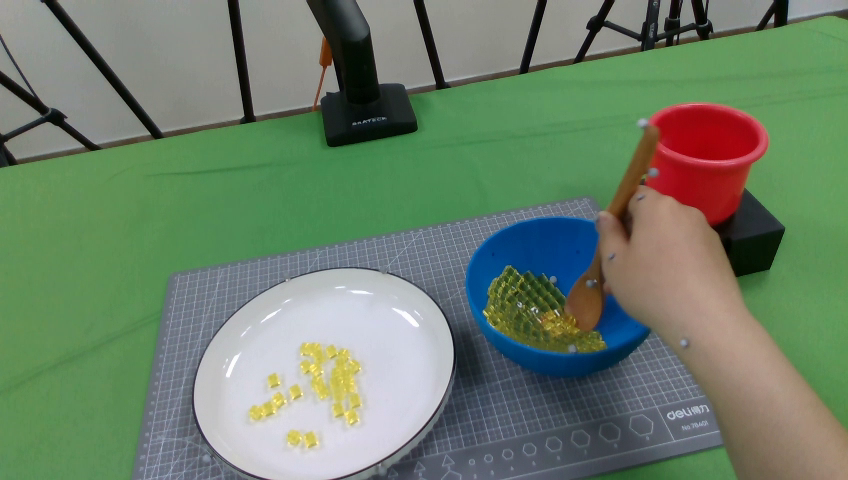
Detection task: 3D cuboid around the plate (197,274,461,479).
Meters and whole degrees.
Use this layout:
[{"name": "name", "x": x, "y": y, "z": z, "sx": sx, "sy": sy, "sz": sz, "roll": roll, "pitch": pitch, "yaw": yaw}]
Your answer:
[{"name": "plate", "x": -0.073, "y": 0.112, "z": 0.491, "sx": 0.207, "sy": 0.039, "sz": 0.205, "roll": -4, "pitch": 41, "yaw": 4}]

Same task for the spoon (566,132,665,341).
[{"name": "spoon", "x": 0.136, "y": 0.006, "z": 0.440, "sx": 0.022, "sy": 0.195, "sz": 0.041, "roll": -8, "pitch": 46, "yaw": -12}]

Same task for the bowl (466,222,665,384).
[{"name": "bowl", "x": 0.110, "y": 0.063, "z": 0.490, "sx": 0.151, "sy": 0.077, "sz": 0.150, "roll": -4, "pitch": 42, "yaw": 4}]
